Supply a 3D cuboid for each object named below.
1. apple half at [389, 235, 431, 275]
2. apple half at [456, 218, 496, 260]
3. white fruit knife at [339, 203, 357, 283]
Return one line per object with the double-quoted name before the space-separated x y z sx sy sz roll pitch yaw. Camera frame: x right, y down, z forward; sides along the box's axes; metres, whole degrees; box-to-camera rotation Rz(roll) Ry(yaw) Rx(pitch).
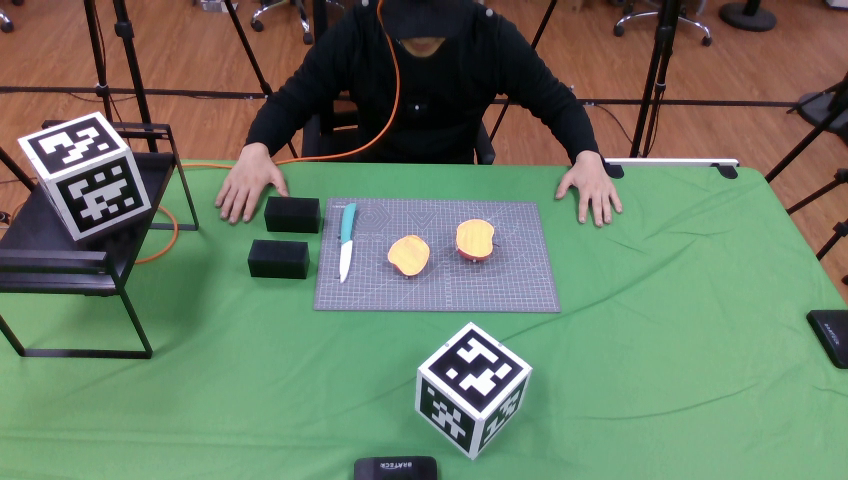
"apple half" -0.023 0.032 1.145 0.081 0.033 0.081 -2 65 5
"apple half" 0.098 0.003 1.168 0.075 0.053 0.080 4 68 -4
"white fruit knife" -0.150 0.003 1.179 0.027 0.016 0.206 -7 47 8
